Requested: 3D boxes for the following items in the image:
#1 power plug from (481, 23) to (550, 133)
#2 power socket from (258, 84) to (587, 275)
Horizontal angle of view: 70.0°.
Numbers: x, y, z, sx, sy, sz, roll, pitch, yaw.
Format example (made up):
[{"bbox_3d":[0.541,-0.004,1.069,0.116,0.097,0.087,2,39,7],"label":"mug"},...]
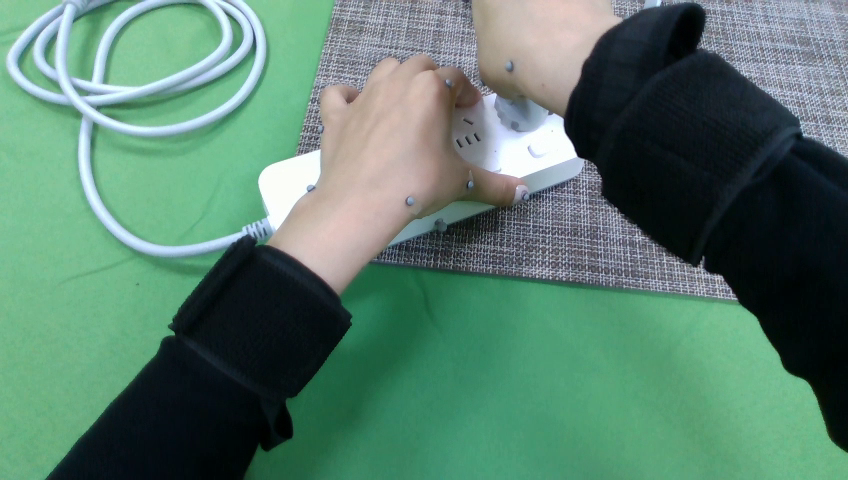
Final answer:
[{"bbox_3d":[0.060,-0.103,0.404,0.035,0.053,0.072,-9,64,-10],"label":"power plug"},{"bbox_3d":[0.002,-0.043,0.394,0.227,0.033,0.071,-21,63,-13],"label":"power socket"}]
